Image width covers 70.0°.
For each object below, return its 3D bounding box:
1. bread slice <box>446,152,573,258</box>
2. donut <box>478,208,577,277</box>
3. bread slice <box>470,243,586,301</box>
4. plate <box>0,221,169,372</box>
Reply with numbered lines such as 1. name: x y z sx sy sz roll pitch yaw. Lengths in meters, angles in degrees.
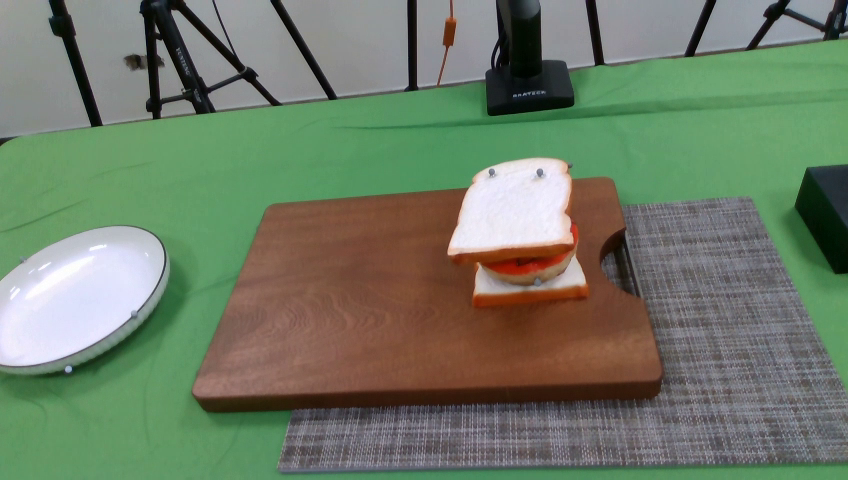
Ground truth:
1. bread slice: 0.079 -0.035 0.548 0.107 0.018 0.133 -8 39 18
2. donut: 0.090 -0.007 0.559 0.099 0.049 0.098 -8 43 7
3. bread slice: 0.093 0.003 0.591 0.105 0.019 0.130 -6 44 5
4. plate: -0.378 0.060 0.663 0.209 0.038 0.207 -6 43 6
